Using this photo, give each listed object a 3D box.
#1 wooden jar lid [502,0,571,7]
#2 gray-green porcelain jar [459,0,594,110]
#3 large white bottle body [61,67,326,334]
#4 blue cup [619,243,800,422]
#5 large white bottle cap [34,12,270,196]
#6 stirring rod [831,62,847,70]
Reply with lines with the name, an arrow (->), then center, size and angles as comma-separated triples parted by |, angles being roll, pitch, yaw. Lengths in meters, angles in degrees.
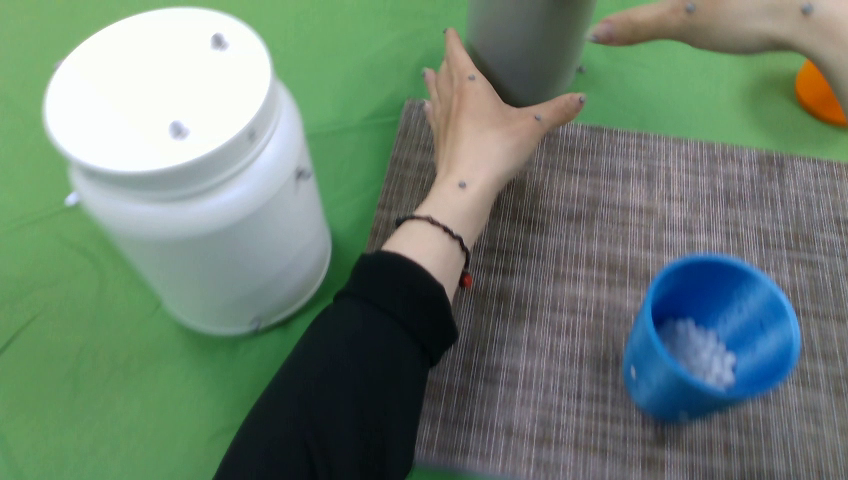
wooden jar lid -> 0.084, -0.214, 0.460 | 0.108, 0.021, 0.107 | 0, 58, 1
gray-green porcelain jar -> 0.083, -0.183, 0.513 | 0.106, 0.127, 0.105 | 0, 60, 0
large white bottle body -> -0.139, -0.031, 0.388 | 0.130, 0.186, 0.129 | 0, 60, 0
blue cup -> 0.164, 0.070, 0.378 | 0.092, 0.101, 0.092 | 0, 58, 1
large white bottle cap -> -0.139, -0.074, 0.314 | 0.115, 0.018, 0.114 | 0, 60, 0
stirring rod -> 0.364, -0.142, 0.488 | 0.014, 0.006, 0.176 | 14, 18, 13
